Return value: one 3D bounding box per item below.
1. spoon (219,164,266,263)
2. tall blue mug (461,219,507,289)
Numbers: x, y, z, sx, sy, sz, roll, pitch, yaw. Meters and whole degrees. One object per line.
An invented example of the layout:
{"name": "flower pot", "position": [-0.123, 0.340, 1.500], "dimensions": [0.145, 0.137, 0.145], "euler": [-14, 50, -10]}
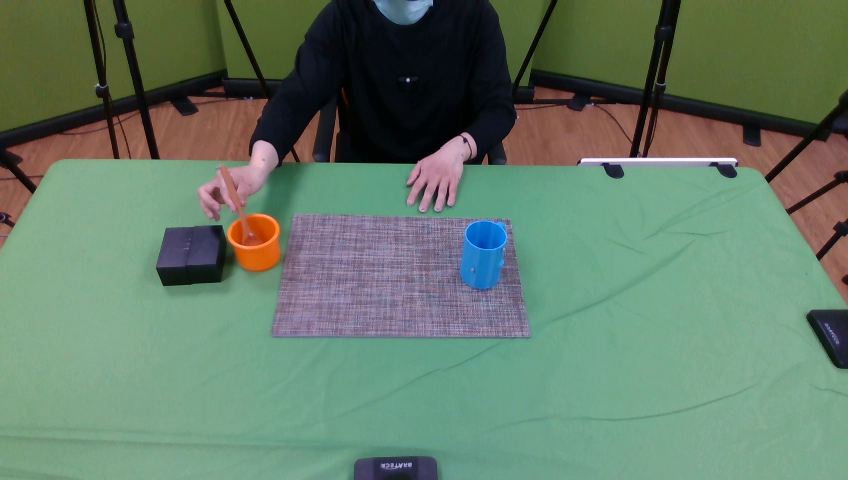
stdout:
{"name": "spoon", "position": [-0.333, -0.047, 1.107], "dimensions": [0.041, 0.194, 0.021], "euler": [-21, 23, -18]}
{"name": "tall blue mug", "position": [0.111, 0.016, 1.122], "dimensions": [0.078, 0.108, 0.106], "euler": [6, 46, 4]}
